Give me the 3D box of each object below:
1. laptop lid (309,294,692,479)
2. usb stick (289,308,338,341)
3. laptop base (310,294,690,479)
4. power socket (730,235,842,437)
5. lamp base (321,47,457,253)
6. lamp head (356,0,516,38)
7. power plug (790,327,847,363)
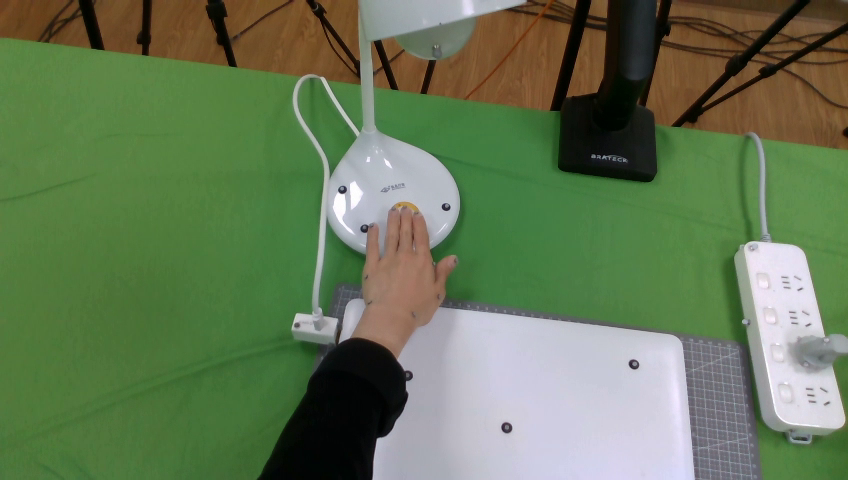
[{"bbox_3d":[0.077,0.176,0.580,0.356,0.013,0.240,7,62,2],"label":"laptop lid"},{"bbox_3d":[-0.106,0.088,0.622,0.059,0.027,0.021,10,55,0],"label":"usb stick"},{"bbox_3d":[0.077,0.180,0.591,0.354,0.023,0.233,6,63,1],"label":"laptop base"},{"bbox_3d":[0.381,0.092,0.646,0.072,0.033,0.225,7,60,0],"label":"power socket"},{"bbox_3d":[-0.045,-0.102,0.656,0.161,0.182,0.177,-27,62,-17],"label":"lamp base"},{"bbox_3d":[-0.002,-0.202,0.393,0.112,0.111,0.123,-19,106,-13],"label":"lamp head"},{"bbox_3d":[0.408,0.111,0.610,0.072,0.053,0.035,16,60,5],"label":"power plug"}]
